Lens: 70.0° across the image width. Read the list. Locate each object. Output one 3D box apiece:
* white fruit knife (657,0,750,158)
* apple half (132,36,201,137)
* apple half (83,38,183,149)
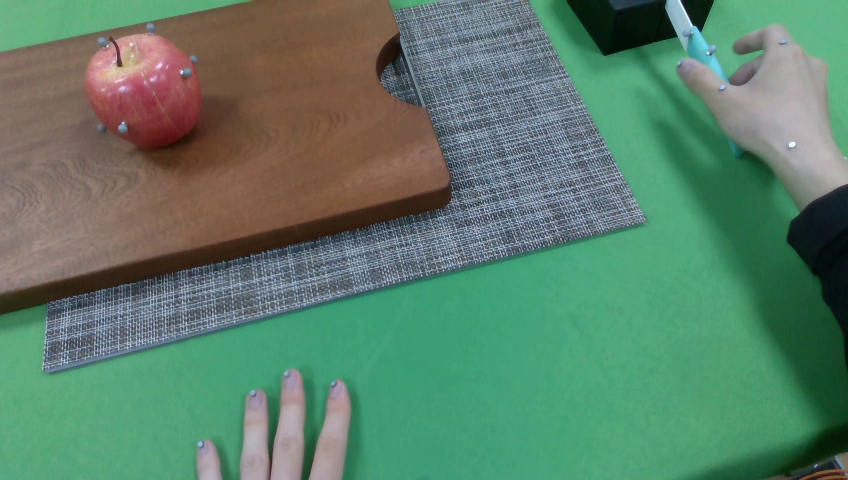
[{"bbox_3d":[0.225,-0.165,0.514,0.016,0.027,0.206,-17,73,-6],"label":"white fruit knife"},{"bbox_3d":[-0.193,-0.122,0.475,0.033,0.082,0.080,-25,60,-8],"label":"apple half"},{"bbox_3d":[-0.228,-0.107,0.468,0.053,0.075,0.080,-24,64,-7],"label":"apple half"}]
